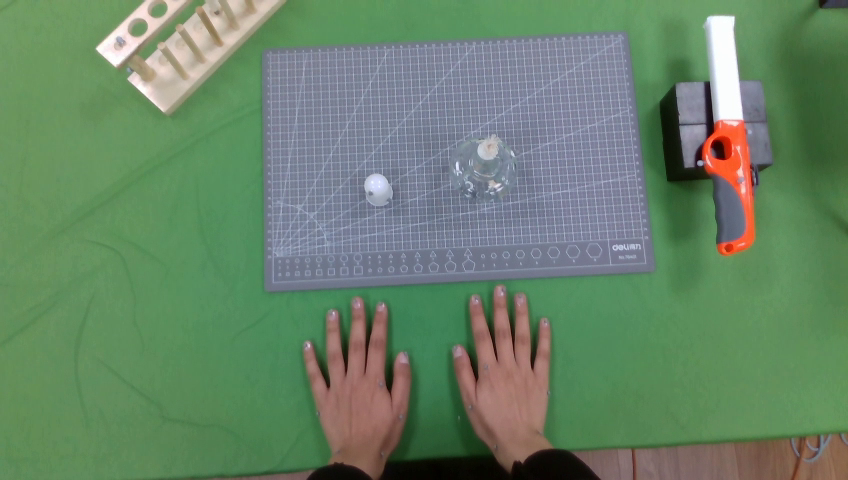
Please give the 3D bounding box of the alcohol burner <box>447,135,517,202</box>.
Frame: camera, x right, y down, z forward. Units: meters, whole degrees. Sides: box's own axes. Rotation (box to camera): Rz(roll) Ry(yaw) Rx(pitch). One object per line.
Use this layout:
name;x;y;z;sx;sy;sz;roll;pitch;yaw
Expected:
alcohol burner;0.065;-0.084;0.663;0.078;0.119;0.077;0;78;-1

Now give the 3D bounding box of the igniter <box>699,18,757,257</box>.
igniter;0.332;-0.117;0.668;0.057;0.025;0.275;1;78;3

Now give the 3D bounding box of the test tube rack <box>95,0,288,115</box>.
test tube rack;-0.253;-0.268;0.711;0.066;0.085;0.242;42;82;8

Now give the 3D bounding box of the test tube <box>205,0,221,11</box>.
test tube;-0.254;-0.304;0.668;0.017;0.151;0.017;0;74;1

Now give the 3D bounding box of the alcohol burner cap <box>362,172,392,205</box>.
alcohol burner cap;-0.055;-0.061;0.694;0.034;0.048;0.033;0;79;2
